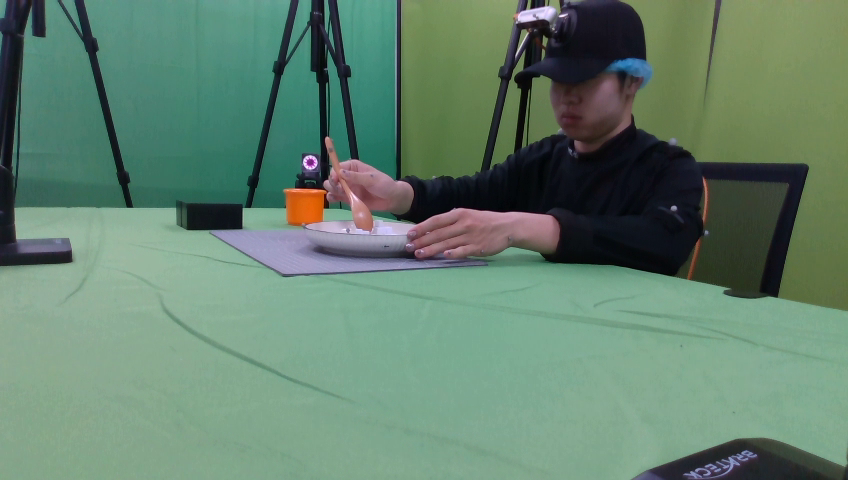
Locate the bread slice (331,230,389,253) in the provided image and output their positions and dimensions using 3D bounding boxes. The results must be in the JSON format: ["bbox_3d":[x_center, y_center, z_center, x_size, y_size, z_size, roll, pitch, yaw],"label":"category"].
[{"bbox_3d":[-0.088,0.000,0.947,0.105,0.019,0.131,-3,10,-45],"label":"bread slice"}]

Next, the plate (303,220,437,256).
[{"bbox_3d":[-0.084,-0.003,0.951,0.209,0.038,0.209,3,7,0],"label":"plate"}]

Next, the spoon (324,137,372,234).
[{"bbox_3d":[-0.127,-0.090,0.967,0.042,0.193,0.021,4,-40,-49],"label":"spoon"}]
